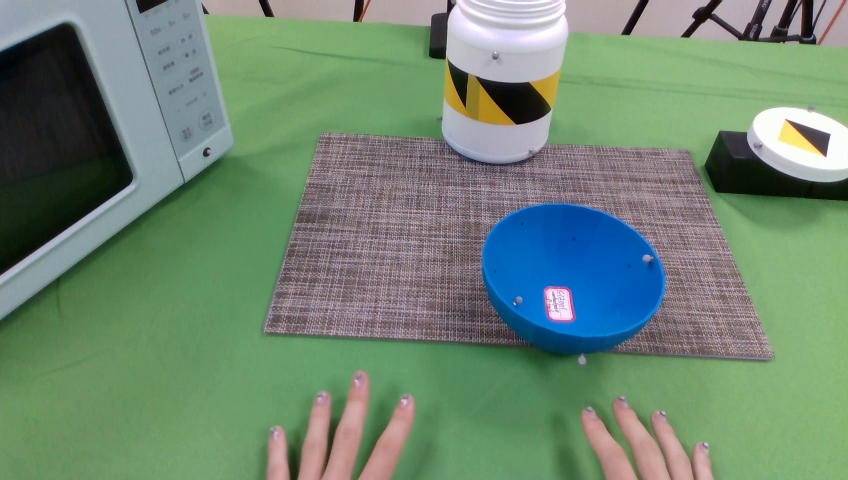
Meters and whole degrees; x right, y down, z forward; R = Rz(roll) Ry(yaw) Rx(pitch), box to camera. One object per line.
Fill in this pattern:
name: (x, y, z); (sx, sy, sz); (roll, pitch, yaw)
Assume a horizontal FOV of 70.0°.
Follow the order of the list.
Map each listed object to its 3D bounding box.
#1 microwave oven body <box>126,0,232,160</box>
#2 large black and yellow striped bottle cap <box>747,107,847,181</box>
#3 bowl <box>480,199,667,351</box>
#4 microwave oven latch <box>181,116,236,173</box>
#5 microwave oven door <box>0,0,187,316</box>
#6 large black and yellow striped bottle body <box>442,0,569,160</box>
microwave oven body: (-0.455, -0.124, 0.529); (0.324, 0.262, 0.440); (24, 50, 19)
large black and yellow striped bottle cap: (0.418, -0.108, 0.664); (0.115, 0.019, 0.114); (1, 45, 0)
bowl: (0.120, 0.042, 0.525); (0.151, 0.077, 0.150); (1, 46, -1)
microwave oven latch: (-0.240, -0.108, 0.660); (0.030, 0.030, 0.079); (26, 51, 20)
microwave oven door: (-0.350, -0.046, 0.453); (0.039, 0.246, 0.354); (24, 49, 20)
large black and yellow striped bottle body: (0.089, -0.199, 0.685); (0.131, 0.185, 0.129); (2, 43, -1)
